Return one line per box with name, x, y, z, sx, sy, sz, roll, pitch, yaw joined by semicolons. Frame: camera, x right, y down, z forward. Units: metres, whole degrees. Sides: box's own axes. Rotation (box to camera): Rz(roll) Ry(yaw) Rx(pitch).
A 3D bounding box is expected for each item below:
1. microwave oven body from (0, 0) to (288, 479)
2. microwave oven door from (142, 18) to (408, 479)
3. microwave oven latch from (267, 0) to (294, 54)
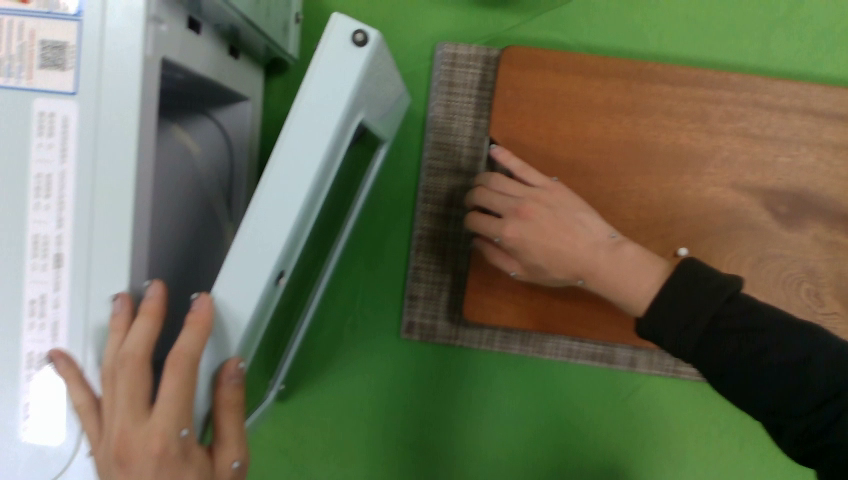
microwave oven body;-0.306;-0.050;0.498;0.326;0.260;0.442;5;96;1
microwave oven door;-0.109;0.021;0.492;0.039;0.243;0.356;24;96;1
microwave oven latch;-0.138;-0.219;0.572;0.030;0.029;0.079;6;96;1
